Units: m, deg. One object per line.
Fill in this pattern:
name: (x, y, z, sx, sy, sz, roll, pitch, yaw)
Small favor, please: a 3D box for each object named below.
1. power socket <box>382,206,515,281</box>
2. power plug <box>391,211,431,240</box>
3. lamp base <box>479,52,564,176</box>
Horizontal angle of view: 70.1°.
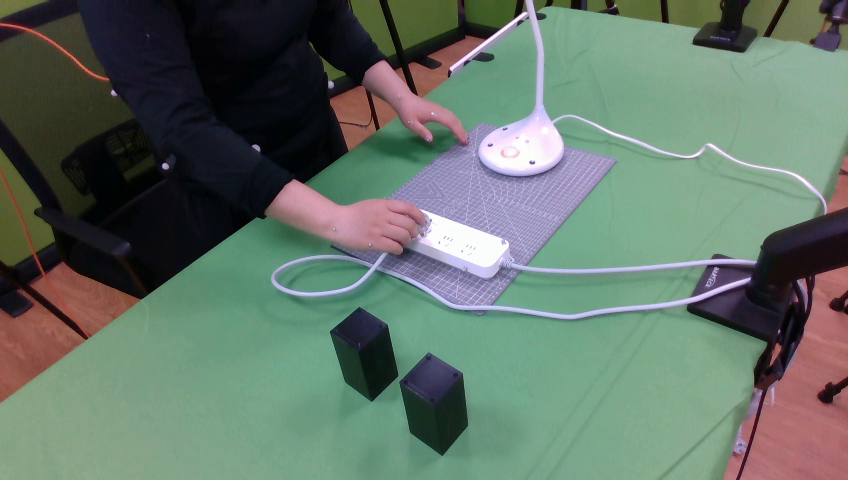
power socket: (0.032, 0.002, 0.950, 0.225, 0.033, 0.072, 22, 49, 29)
power plug: (-0.023, -0.017, 0.923, 0.073, 0.053, 0.035, -34, 52, -13)
lamp base: (0.181, -0.235, 1.093, 0.159, 0.181, 0.179, 18, 44, 27)
